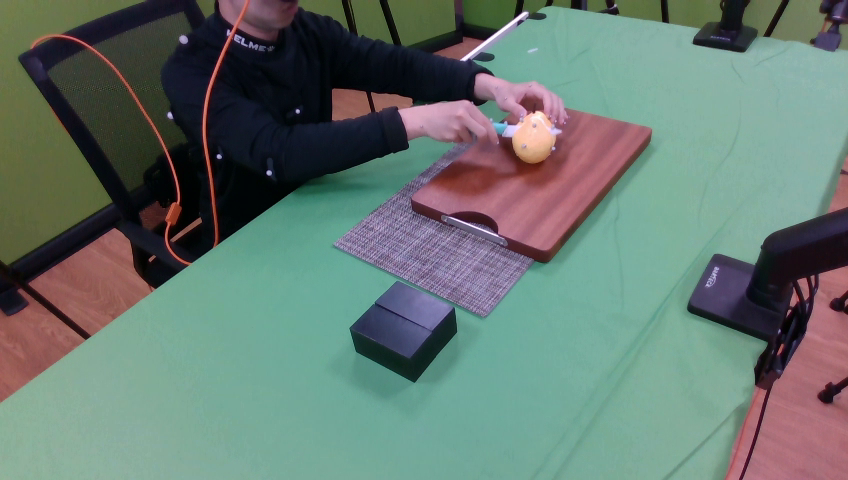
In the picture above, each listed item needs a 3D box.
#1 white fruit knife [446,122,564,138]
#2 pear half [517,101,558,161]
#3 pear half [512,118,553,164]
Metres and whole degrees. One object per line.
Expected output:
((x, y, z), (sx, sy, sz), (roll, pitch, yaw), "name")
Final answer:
((0.138, -0.190, 1.052), (0.207, 0.027, 0.016), (5, 41, 12), "white fruit knife")
((0.197, -0.198, 1.059), (0.076, 0.110, 0.056), (3, 40, 11), "pear half")
((0.186, -0.164, 1.040), (0.070, 0.088, 0.031), (4, 46, 9), "pear half")
